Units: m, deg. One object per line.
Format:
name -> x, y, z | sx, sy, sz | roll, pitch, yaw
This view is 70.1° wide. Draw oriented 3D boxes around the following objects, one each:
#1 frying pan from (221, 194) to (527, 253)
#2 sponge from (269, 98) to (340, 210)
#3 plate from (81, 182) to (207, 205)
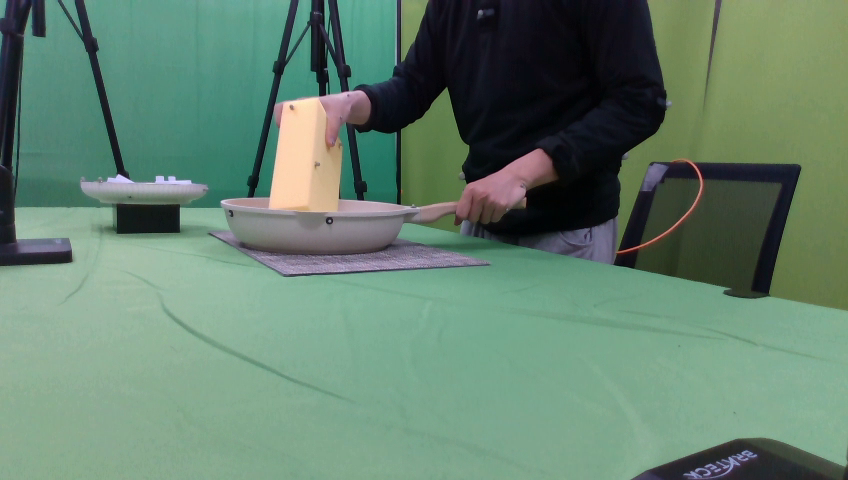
frying pan -> -0.070, -0.043, 0.983 | 0.489, 0.102, 0.306 | -7, 9, -5
sponge -> -0.184, -0.106, 0.960 | 0.061, 0.206, 0.118 | -7, -31, 9
plate -> -0.504, -0.086, 1.100 | 0.208, 0.039, 0.207 | 1, 6, 0
